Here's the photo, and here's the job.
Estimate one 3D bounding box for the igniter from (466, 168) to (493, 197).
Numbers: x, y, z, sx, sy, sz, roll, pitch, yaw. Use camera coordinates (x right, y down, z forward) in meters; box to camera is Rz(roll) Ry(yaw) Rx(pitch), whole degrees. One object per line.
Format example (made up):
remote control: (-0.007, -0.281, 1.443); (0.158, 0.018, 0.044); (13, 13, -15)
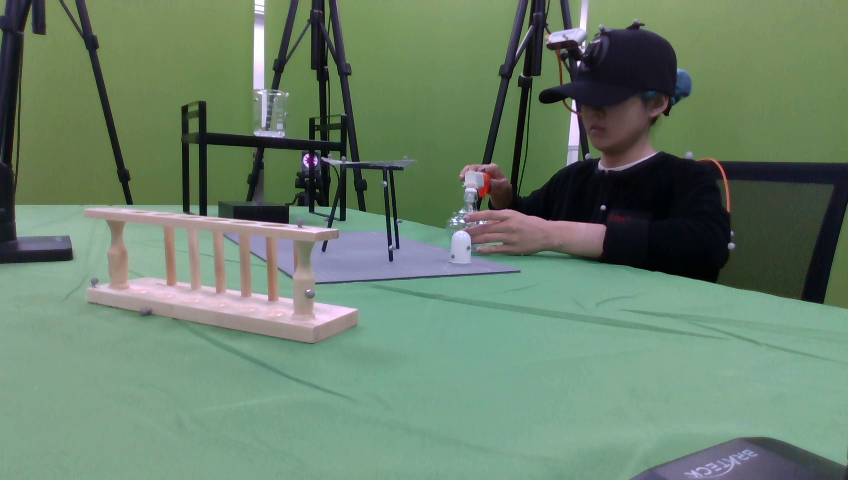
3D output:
igniter: (0.107, -0.109, 1.141); (0.025, 0.057, 0.277); (-2, 4, 12)

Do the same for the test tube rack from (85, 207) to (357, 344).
test tube rack: (-0.177, 0.022, 0.518); (0.241, 0.085, 0.067); (6, 7, 23)

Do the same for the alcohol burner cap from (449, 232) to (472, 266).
alcohol burner cap: (0.052, 0.012, 0.843); (0.034, 0.048, 0.034); (2, 6, 0)

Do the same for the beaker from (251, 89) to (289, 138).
beaker: (-0.334, -0.273, 1.316); (0.084, 0.100, 0.074); (6, 8, 15)

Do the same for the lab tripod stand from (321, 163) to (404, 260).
lab tripod stand: (-0.076, -0.045, 0.884); (0.148, 0.131, 0.148); (2, 5, 0)

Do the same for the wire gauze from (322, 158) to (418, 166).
wire gauze: (-0.081, -0.112, 0.877); (0.122, 0.011, 0.124); (0, 6, -18)

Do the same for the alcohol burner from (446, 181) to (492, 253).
alcohol burner: (0.075, -0.038, 0.999); (0.078, 0.119, 0.078); (4, 9, 0)
